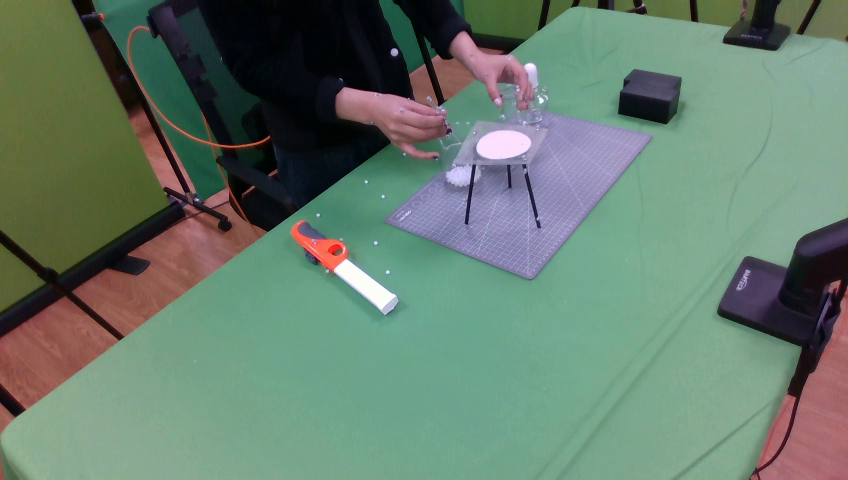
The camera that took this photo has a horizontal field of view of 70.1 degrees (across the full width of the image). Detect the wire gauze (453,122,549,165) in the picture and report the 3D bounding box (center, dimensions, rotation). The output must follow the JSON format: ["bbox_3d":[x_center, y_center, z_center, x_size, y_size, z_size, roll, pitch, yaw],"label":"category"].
[{"bbox_3d":[0.121,-0.150,0.942,0.121,0.011,0.125,8,42,21],"label":"wire gauze"}]

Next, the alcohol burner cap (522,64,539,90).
[{"bbox_3d":[0.210,-0.325,1.195,0.034,0.048,0.033,-6,46,7],"label":"alcohol burner cap"}]

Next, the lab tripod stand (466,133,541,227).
[{"bbox_3d":[0.129,-0.099,0.985,0.148,0.132,0.147,-6,38,6],"label":"lab tripod stand"}]

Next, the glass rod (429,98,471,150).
[{"bbox_3d":[0.047,-0.192,1.022,0.008,0.201,0.008,-6,74,21],"label":"glass rod"}]

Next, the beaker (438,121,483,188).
[{"bbox_3d":[0.066,-0.149,1.084,0.073,0.101,0.084,20,49,31],"label":"beaker"}]

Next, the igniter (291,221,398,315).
[{"bbox_3d":[-0.136,0.037,0.962,0.057,0.025,0.274,-41,48,-18],"label":"igniter"}]

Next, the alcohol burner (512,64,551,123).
[{"bbox_3d":[0.215,-0.298,1.220,0.078,0.120,0.077,-7,40,7],"label":"alcohol burner"}]

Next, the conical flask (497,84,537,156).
[{"bbox_3d":[0.162,-0.219,1.095,0.075,0.122,0.075,-9,42,9],"label":"conical flask"}]
